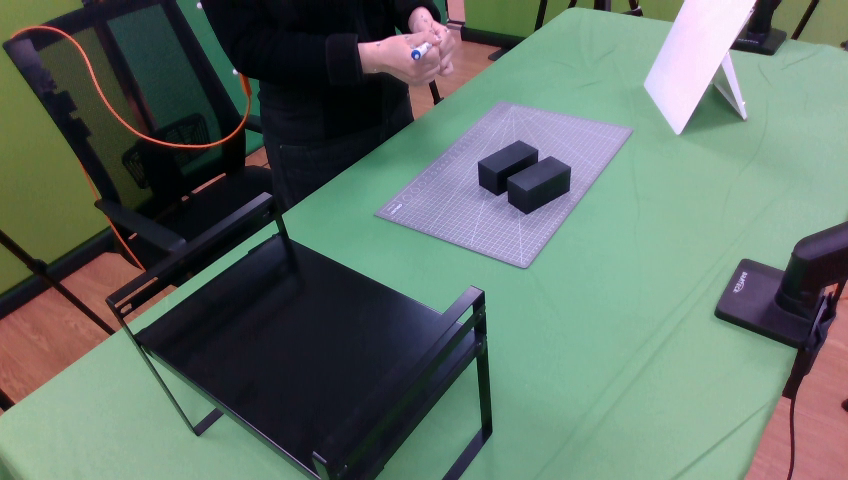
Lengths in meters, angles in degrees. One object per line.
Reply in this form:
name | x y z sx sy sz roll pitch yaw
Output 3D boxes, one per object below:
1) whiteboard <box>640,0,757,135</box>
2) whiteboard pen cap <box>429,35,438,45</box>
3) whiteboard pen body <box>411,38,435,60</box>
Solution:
whiteboard | 0.575 -0.366 1.147 0.144 0.305 0.216 10 39 -9
whiteboard pen cap | 0.012 -0.337 1.030 0.018 0.018 0.033 2 28 11
whiteboard pen body | 0.001 -0.312 0.978 0.017 0.017 0.140 3 27 12
